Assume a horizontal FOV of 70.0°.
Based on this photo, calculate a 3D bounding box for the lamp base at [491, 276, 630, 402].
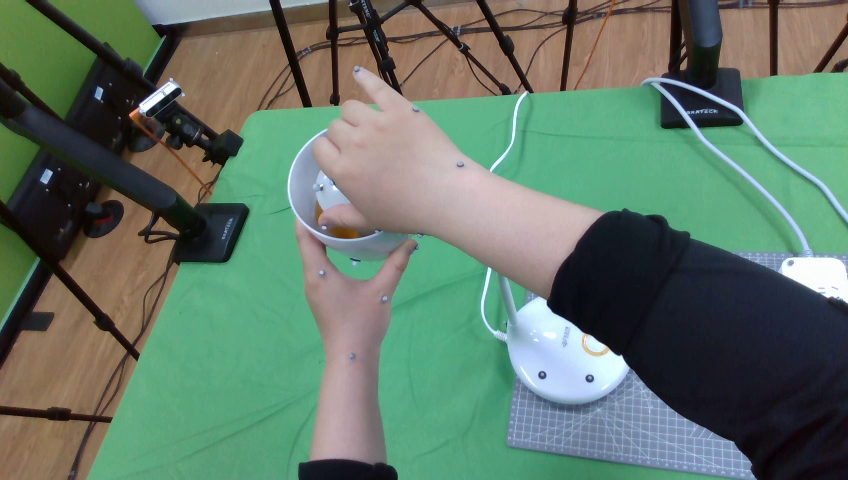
[{"bbox_3d":[0.155,0.096,0.742,0.178,0.182,0.159,-5,57,19],"label":"lamp base"}]

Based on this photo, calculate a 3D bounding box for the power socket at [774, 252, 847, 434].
[{"bbox_3d":[0.468,0.113,0.718,0.072,0.033,0.225,1,58,18],"label":"power socket"}]

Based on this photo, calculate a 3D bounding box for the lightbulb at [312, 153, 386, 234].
[{"bbox_3d":[-0.058,-0.033,0.516,0.059,0.108,0.059,-2,70,6],"label":"lightbulb"}]

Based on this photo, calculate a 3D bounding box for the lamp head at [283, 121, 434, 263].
[{"bbox_3d":[-0.050,-0.029,0.542,0.112,0.124,0.111,-4,67,11],"label":"lamp head"}]
